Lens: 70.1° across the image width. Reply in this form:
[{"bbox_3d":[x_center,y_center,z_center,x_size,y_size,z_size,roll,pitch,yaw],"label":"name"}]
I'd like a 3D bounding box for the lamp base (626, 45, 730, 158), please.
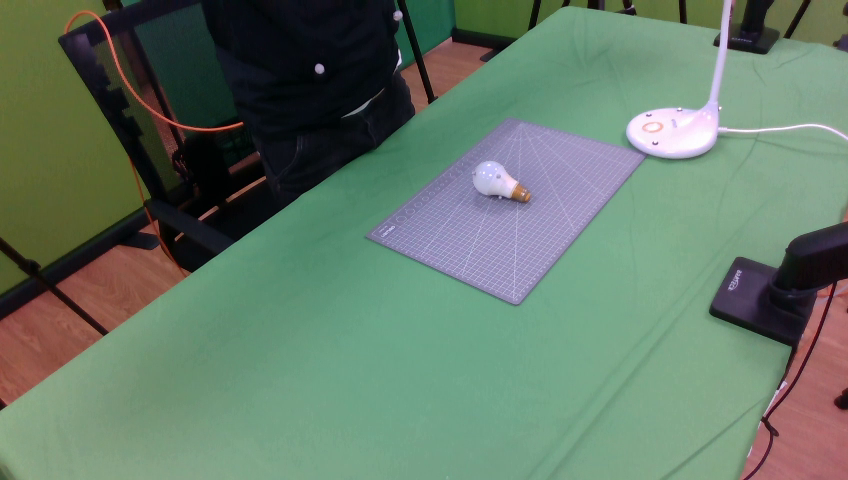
[{"bbox_3d":[0.467,-0.261,1.085,0.179,0.181,0.159,-5,41,-1],"label":"lamp base"}]

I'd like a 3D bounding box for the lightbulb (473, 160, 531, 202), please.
[{"bbox_3d":[0.134,-0.097,1.038,0.107,0.059,0.059,29,50,15],"label":"lightbulb"}]
